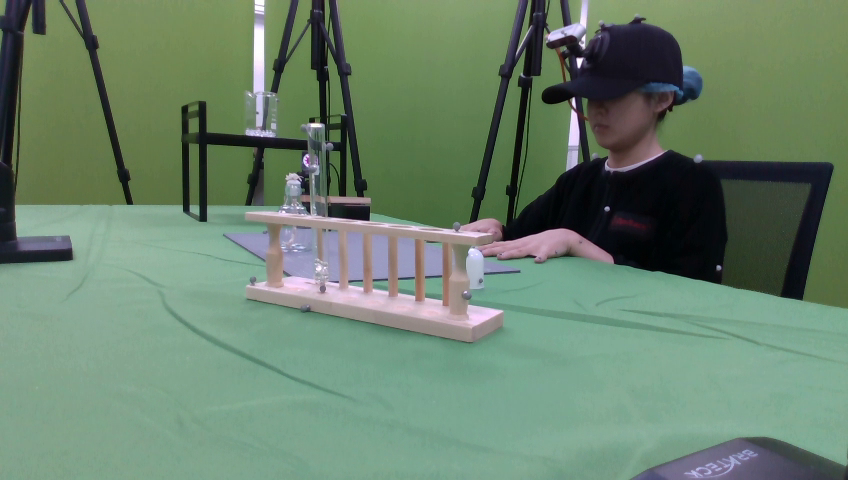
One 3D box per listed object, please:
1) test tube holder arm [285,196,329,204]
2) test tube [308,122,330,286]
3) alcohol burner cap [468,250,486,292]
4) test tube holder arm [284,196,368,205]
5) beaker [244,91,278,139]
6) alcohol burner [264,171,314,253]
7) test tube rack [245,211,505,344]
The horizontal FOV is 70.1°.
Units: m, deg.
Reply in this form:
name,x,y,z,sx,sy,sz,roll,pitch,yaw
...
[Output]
name,x,y,z,sx,sy,sz,roll,pitch,yaw
test tube holder arm,-0.231,-0.079,1.192,0.088,0.015,0.010,0,7,-30
test tube,-0.094,-0.030,0.542,0.017,0.150,0.017,1,17,0
alcohol burner cap,0.056,0.035,0.690,0.034,0.048,0.034,2,7,0
test tube holder arm,-0.195,-0.080,1.220,0.179,0.015,0.013,0,7,-32
beaker,-0.367,-0.280,1.356,0.074,0.100,0.084,4,8,6
alcohol burner,-0.194,-0.042,0.888,0.078,0.119,0.078,3,5,0
test tube rack,-0.049,0.025,0.547,0.241,0.085,0.067,7,8,29
